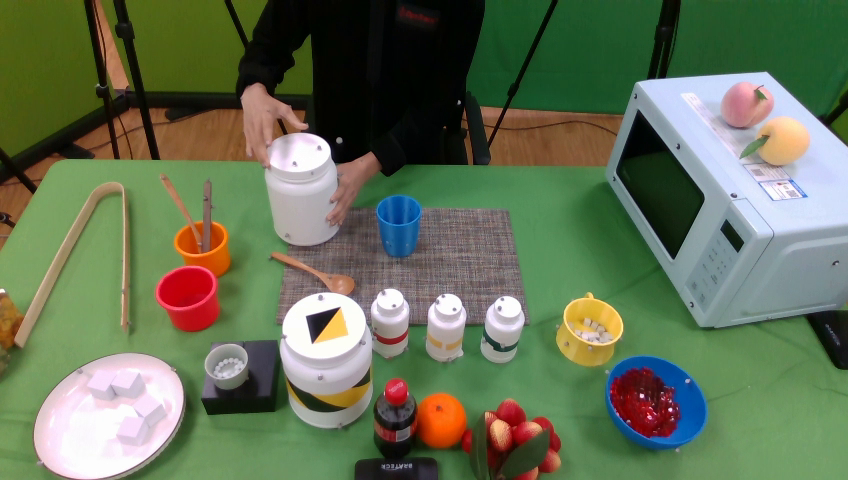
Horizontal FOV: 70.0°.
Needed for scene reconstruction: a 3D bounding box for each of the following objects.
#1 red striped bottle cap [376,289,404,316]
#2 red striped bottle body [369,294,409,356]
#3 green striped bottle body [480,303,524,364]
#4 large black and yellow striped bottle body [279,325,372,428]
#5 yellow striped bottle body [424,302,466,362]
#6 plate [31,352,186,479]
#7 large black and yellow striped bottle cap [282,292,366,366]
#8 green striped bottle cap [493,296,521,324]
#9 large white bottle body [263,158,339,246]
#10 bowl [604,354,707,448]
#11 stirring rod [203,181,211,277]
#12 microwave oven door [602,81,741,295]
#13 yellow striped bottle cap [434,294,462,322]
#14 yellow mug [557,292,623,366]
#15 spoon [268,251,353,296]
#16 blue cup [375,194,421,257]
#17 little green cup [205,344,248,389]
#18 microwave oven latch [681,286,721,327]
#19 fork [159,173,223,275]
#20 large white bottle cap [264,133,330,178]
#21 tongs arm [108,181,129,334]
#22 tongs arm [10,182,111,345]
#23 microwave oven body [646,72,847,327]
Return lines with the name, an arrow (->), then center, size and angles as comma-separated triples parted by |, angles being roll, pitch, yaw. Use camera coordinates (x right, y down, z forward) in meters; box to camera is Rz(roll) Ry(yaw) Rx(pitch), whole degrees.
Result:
red striped bottle cap -> -0.055, 0.098, 0.958 | 0.044, 0.018, 0.044 | 0, 48, 1
red striped bottle body -> -0.059, 0.134, 0.997 | 0.063, 0.120, 0.062 | 5, 47, -5
green striped bottle body -> 0.129, 0.147, 1.000 | 0.063, 0.120, 0.063 | 2, 46, -2
large black and yellow striped bottle body -> -0.143, 0.181, 0.900 | 0.131, 0.185, 0.130 | 2, 46, -2
yellow striped bottle body -> 0.035, 0.143, 0.995 | 0.063, 0.121, 0.062 | 3, 46, -3
plate -> -0.459, 0.262, 0.898 | 0.209, 0.038, 0.208 | 2, 46, -2
large black and yellow striped bottle cap -> -0.138, 0.121, 0.841 | 0.115, 0.019, 0.114 | 3, 47, -3
green striped bottle cap -> 0.133, 0.111, 0.962 | 0.044, 0.020, 0.044 | 2, 47, -2
large white bottle body -> -0.232, -0.093, 1.150 | 0.131, 0.185, 0.130 | 2, 46, -2
bowl -> 0.346, 0.261, 0.937 | 0.151, 0.077, 0.150 | 2, 46, -2
stirring rod -> -0.396, -0.021, 1.107 | 0.014, 0.006, 0.176 | -1, 89, -1
microwave oven door -> 0.456, -0.107, 1.162 | 0.039, 0.245, 0.353 | -7, 47, -11
yellow striped bottle cap -> 0.038, 0.107, 0.958 | 0.044, 0.019, 0.044 | 2, 44, -2
yellow mug -> 0.285, 0.145, 1.051 | 0.100, 0.064, 0.130 | 7, 46, 4
spoon -> -0.212, 0.057, 1.121 | 0.193, 0.022, 0.041 | 24, 74, 18
blue cup -> -0.050, -0.022, 1.155 | 0.093, 0.101, 0.092 | 1, 46, -1
little green cup -> -0.294, 0.191, 0.909 | 0.061, 0.039, 0.061 | 1, 47, -1
microwave oven latch -> 0.494, 0.119, 1.086 | 0.030, 0.029, 0.078 | -5, 46, -9
fork -> -0.427, -0.029, 1.104 | 0.028, 0.018, 0.207 | -31, 99, -30
large white bottle cap -> -0.228, -0.152, 1.087 | 0.115, 0.018, 0.114 | 2, 46, -2
tongs arm -> -0.571, 0.019, 1.123 | 0.051, 0.026, 0.382 | -11, 47, -12
tongs arm -> -0.658, 0.027, 1.109 | 0.028, 0.028, 0.385 | -2, 45, 2
microwave oven body -> 0.607, -0.089, 1.164 | 0.326, 0.261, 0.438 | -7, 46, -10
